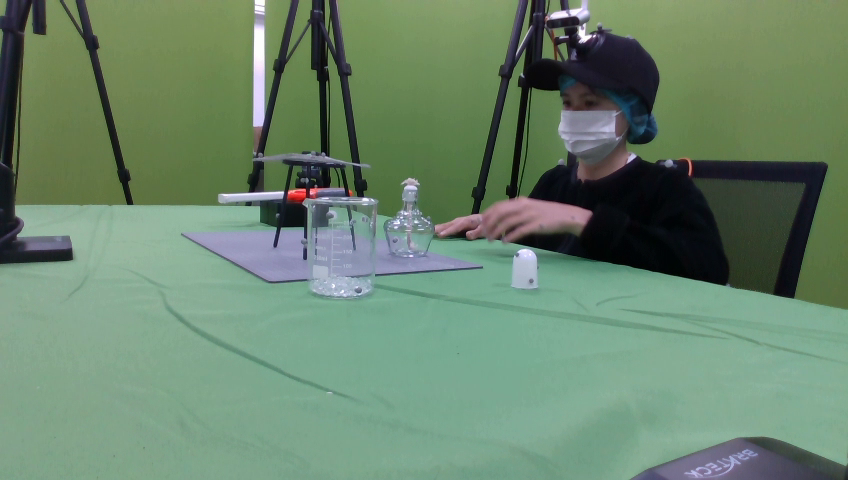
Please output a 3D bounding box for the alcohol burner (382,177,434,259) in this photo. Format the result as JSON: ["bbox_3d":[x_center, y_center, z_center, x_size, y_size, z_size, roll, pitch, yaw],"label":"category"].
[{"bbox_3d":[-0.023,-0.033,0.891,0.078,0.119,0.078,1,6,0],"label":"alcohol burner"}]

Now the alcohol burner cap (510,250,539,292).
[{"bbox_3d":[0.118,0.036,0.704,0.034,0.048,0.034,0,6,0],"label":"alcohol burner cap"}]

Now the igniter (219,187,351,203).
[{"bbox_3d":[-0.280,-0.092,1.254,0.278,0.025,0.057,-6,11,-34],"label":"igniter"}]

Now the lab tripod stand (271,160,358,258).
[{"bbox_3d":[-0.159,-0.048,0.876,0.148,0.131,0.148,3,5,0],"label":"lab tripod stand"}]

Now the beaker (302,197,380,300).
[{"bbox_3d":[-0.089,0.007,0.625,0.084,0.100,0.074,4,7,16],"label":"beaker"}]

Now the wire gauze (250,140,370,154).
[{"bbox_3d":[-0.163,-0.131,0.867,0.124,0.011,0.122,-1,8,32],"label":"wire gauze"}]
